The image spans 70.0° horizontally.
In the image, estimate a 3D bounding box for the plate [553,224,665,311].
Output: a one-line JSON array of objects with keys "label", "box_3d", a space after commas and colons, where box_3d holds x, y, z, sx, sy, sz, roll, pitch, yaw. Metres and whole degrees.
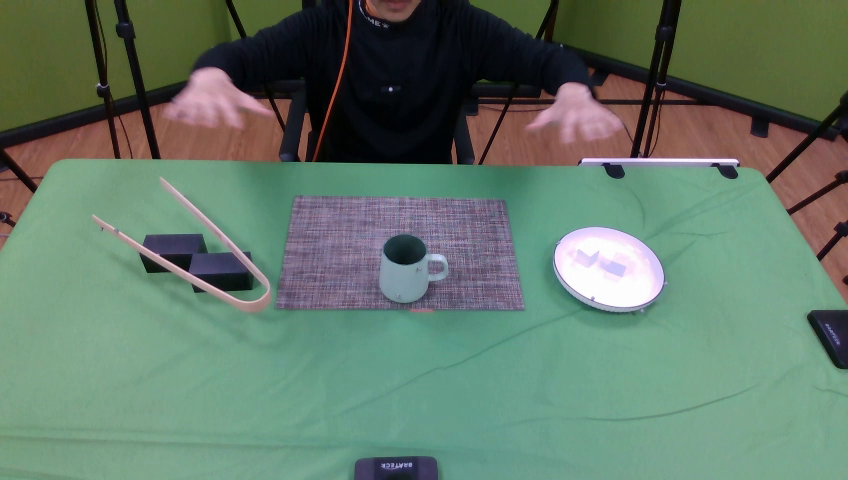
[{"label": "plate", "box_3d": [0.349, 0.055, 1.159, 0.209, 0.038, 0.208, 2, 47, -2]}]

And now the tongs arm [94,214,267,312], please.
[{"label": "tongs arm", "box_3d": [-0.434, 0.031, 1.063, 0.383, 0.026, 0.050, 28, 47, 21]}]

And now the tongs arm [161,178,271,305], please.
[{"label": "tongs arm", "box_3d": [-0.386, -0.009, 1.108, 0.028, 0.028, 0.385, -29, 54, -36]}]

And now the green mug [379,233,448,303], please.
[{"label": "green mug", "box_3d": [-0.019, 0.050, 1.085, 0.125, 0.105, 0.092, -1, 46, -4]}]
